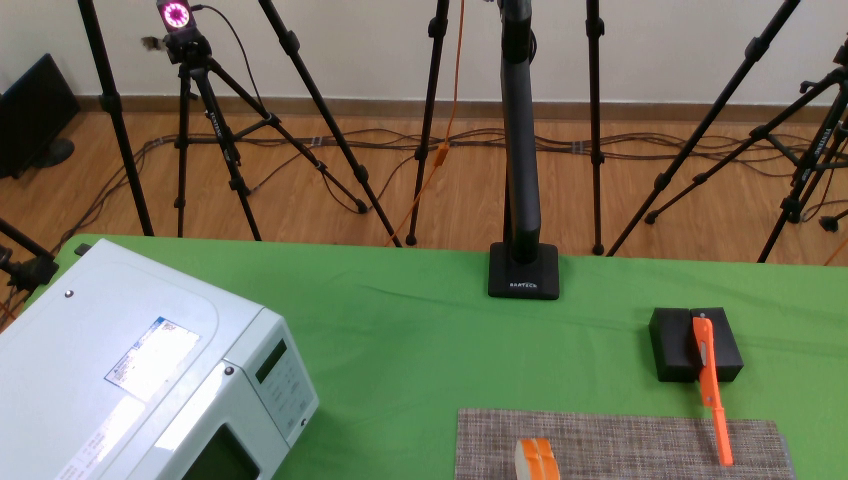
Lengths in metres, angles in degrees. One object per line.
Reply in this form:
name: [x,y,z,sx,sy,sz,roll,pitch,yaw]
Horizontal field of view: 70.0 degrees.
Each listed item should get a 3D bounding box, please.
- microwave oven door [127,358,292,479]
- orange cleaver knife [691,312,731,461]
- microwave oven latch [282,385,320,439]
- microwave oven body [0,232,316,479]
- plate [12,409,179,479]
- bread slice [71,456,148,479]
microwave oven door: [-0.288,0.332,0.674,0.039,0.246,0.354,19,54,20]
orange cleaver knife: [0.403,0.201,0.858,0.012,0.078,0.210,-2,71,5]
microwave oven latch: [-0.181,0.244,0.872,0.030,0.030,0.079,21,56,19]
microwave oven body: [-0.399,0.261,0.748,0.324,0.262,0.439,20,55,19]
plate: [-0.416,0.320,0.771,0.208,0.039,0.205,0,48,0]
bread slice: [-0.413,0.344,0.759,0.135,0.018,0.106,-14,49,-20]
